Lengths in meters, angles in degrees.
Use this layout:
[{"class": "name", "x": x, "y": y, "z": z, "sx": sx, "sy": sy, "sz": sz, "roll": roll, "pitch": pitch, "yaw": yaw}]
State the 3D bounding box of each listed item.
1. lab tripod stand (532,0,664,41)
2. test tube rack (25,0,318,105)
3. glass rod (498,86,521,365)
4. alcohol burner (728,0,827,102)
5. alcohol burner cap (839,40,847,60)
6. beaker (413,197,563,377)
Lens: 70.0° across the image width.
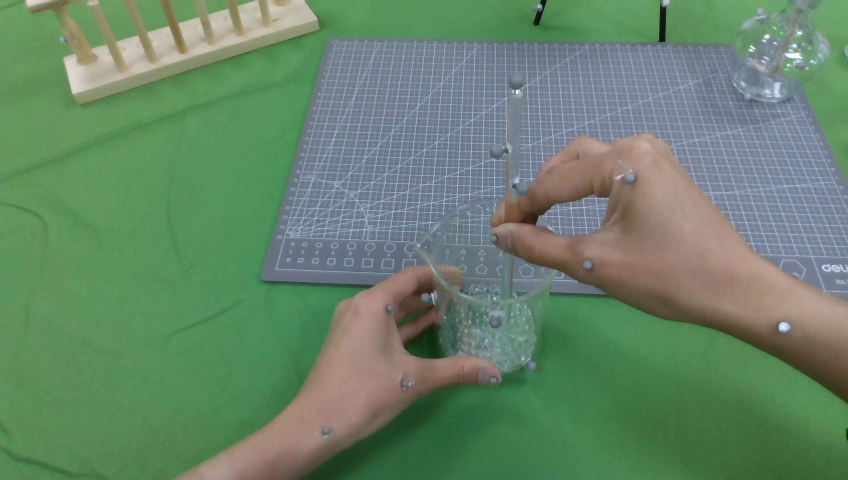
[{"class": "lab tripod stand", "x": 0.184, "y": -0.277, "z": 0.585, "sx": 0.148, "sy": 0.132, "sz": 0.147, "roll": 0, "pitch": 52, "yaw": 0}, {"class": "test tube rack", "x": -0.233, "y": -0.220, "z": 0.585, "sx": 0.242, "sy": 0.086, "sz": 0.066, "roll": -23, "pitch": 55, "yaw": -15}, {"class": "glass rod", "x": 0.044, "y": 0.009, "z": 0.320, "sx": 0.008, "sy": 0.201, "sz": 0.008, "roll": -3, "pitch": 45, "yaw": 3}, {"class": "alcohol burner", "x": 0.307, "y": -0.178, "z": 0.513, "sx": 0.078, "sy": 0.120, "sz": 0.077, "roll": 0, "pitch": 55, "yaw": 1}, {"class": "alcohol burner cap", "x": 0.421, "y": -0.195, "z": 0.571, "sx": 0.034, "sy": 0.048, "sz": 0.033, "roll": -1, "pitch": 52, "yaw": 1}, {"class": "beaker", "x": 0.037, "y": 0.034, "z": 0.374, "sx": 0.084, "sy": 0.101, "sz": 0.073, "roll": 5, "pitch": 53, "yaw": 7}]
